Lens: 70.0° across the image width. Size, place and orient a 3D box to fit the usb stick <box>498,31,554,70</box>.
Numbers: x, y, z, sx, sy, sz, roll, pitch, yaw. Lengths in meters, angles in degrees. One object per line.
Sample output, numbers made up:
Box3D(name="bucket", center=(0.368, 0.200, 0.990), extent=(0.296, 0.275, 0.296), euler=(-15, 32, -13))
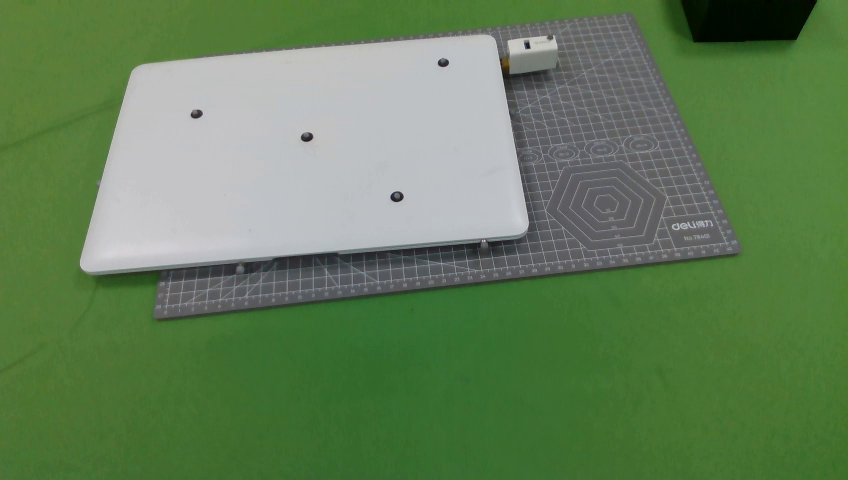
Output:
Box3D(name="usb stick", center=(0.091, -0.177, 0.566), extent=(0.059, 0.027, 0.021), euler=(-7, 58, 5))

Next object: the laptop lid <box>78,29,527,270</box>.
Box3D(name="laptop lid", center=(-0.102, -0.090, 0.523), extent=(0.357, 0.013, 0.239), euler=(-4, 59, 1))

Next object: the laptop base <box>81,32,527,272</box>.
Box3D(name="laptop base", center=(-0.101, -0.085, 0.535), extent=(0.354, 0.023, 0.233), euler=(-5, 60, 0))
